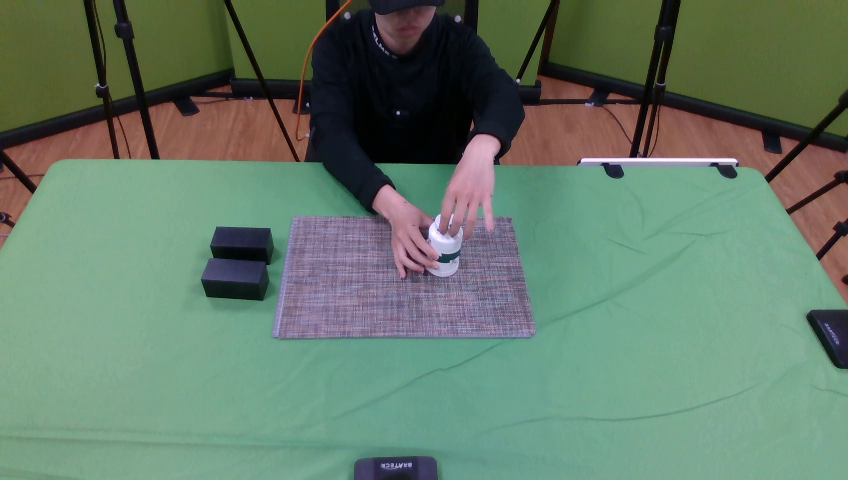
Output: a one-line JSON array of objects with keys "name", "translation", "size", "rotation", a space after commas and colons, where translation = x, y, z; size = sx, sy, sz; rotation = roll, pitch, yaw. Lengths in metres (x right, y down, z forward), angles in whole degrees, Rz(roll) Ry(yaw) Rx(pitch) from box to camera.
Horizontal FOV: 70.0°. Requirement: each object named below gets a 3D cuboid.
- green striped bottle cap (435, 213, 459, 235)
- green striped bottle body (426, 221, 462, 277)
[{"name": "green striped bottle cap", "translation": [0.040, -0.028, 1.084], "size": [0.044, 0.020, 0.044], "rotation": [-1, 39, 1]}, {"name": "green striped bottle body", "translation": [0.037, 0.007, 1.121], "size": [0.063, 0.120, 0.063], "rotation": [2, 46, -2]}]
